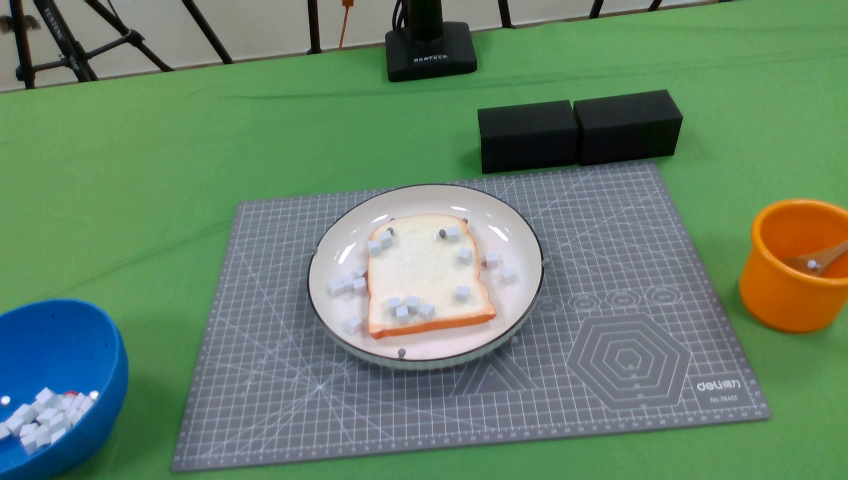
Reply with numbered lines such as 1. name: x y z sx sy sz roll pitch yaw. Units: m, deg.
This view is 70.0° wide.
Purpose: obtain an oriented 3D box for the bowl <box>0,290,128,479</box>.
1. bowl: -0.293 0.121 0.466 0.151 0.077 0.150 -4 47 4

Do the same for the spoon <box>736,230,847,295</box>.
1. spoon: 0.334 -0.006 0.458 0.022 0.194 0.041 30 45 -27

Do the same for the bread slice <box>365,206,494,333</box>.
1. bread slice: -0.004 0.022 0.548 0.107 0.018 0.133 -11 48 -2

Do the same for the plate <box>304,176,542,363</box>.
1. plate: -0.001 0.024 0.543 0.209 0.038 0.207 -4 47 4
